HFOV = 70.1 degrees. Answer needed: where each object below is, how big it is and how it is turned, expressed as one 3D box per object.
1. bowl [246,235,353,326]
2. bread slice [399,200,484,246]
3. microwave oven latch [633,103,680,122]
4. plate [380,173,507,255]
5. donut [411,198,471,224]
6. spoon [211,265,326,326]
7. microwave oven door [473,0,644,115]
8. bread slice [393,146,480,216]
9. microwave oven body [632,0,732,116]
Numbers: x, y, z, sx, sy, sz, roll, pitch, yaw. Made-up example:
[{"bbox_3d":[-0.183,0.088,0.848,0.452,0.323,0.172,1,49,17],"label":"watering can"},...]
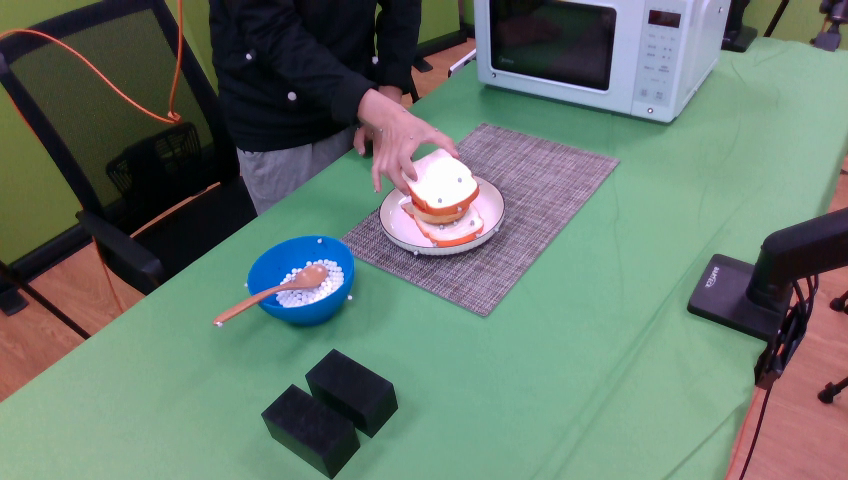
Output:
[{"bbox_3d":[-0.170,0.070,0.868,0.151,0.077,0.150,-4,41,4],"label":"bowl"},{"bbox_3d":[0.037,-0.039,0.990,0.107,0.018,0.133,-23,44,-17],"label":"bread slice"},{"bbox_3d":[0.444,-0.249,1.157,0.078,0.029,0.030,21,48,30],"label":"microwave oven latch"},{"bbox_3d":[0.033,-0.042,0.995,0.207,0.039,0.206,-4,40,4],"label":"plate"},{"bbox_3d":[0.028,-0.064,0.978,0.099,0.048,0.098,-4,39,4],"label":"donut"},{"bbox_3d":[-0.208,0.072,0.822,0.041,0.021,0.195,26,29,27],"label":"spoon"},{"bbox_3d":[0.257,-0.396,1.199,0.353,0.245,0.039,21,48,29],"label":"microwave oven door"},{"bbox_3d":[0.025,-0.092,0.943,0.105,0.019,0.130,-28,50,-14],"label":"bread slice"},{"bbox_3d":[0.377,-0.462,1.267,0.438,0.261,0.327,21,48,30],"label":"microwave oven body"}]
